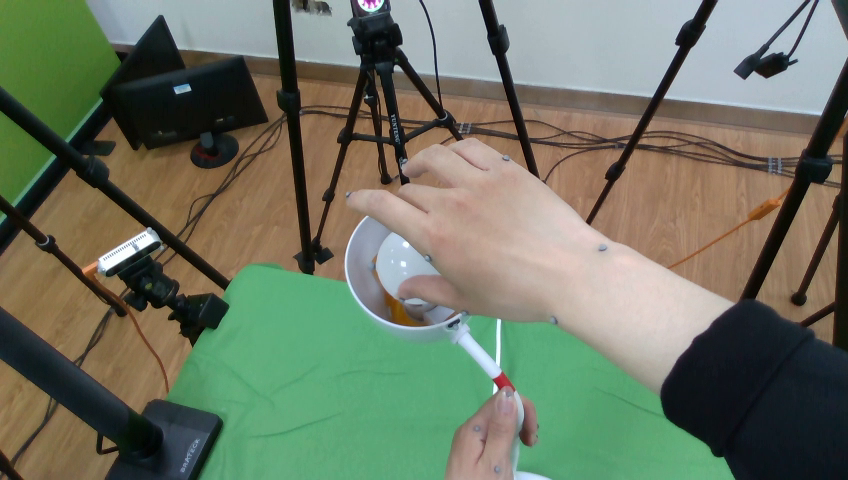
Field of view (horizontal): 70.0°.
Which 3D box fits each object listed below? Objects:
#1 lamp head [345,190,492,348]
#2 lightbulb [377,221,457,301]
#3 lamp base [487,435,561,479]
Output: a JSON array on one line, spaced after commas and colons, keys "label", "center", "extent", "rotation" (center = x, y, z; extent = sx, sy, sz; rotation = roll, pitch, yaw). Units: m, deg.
[{"label": "lamp head", "center": [0.001, 0.037, 0.501], "extent": [0.112, 0.124, 0.111], "rotation": [-3, 61, 5]}, {"label": "lightbulb", "center": [-0.005, 0.024, 0.472], "extent": [0.059, 0.108, 0.059], "rotation": [0, 69, 1]}, {"label": "lamp base", "center": [0.109, 0.292, 0.645], "extent": [0.161, 0.182, 0.177], "rotation": [-23, 52, -10]}]
